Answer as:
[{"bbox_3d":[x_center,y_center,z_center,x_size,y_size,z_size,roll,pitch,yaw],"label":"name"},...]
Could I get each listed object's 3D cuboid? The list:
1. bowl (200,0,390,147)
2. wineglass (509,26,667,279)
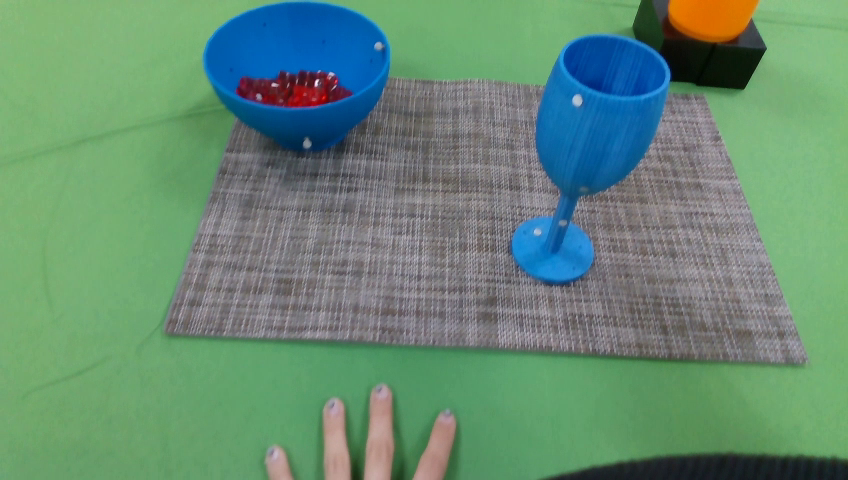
[{"bbox_3d":[-0.105,-0.134,0.522,0.151,0.077,0.150,2,52,-2],"label":"bowl"},{"bbox_3d":[0.102,-0.049,0.408,0.074,0.173,0.073,2,52,-2],"label":"wineglass"}]
